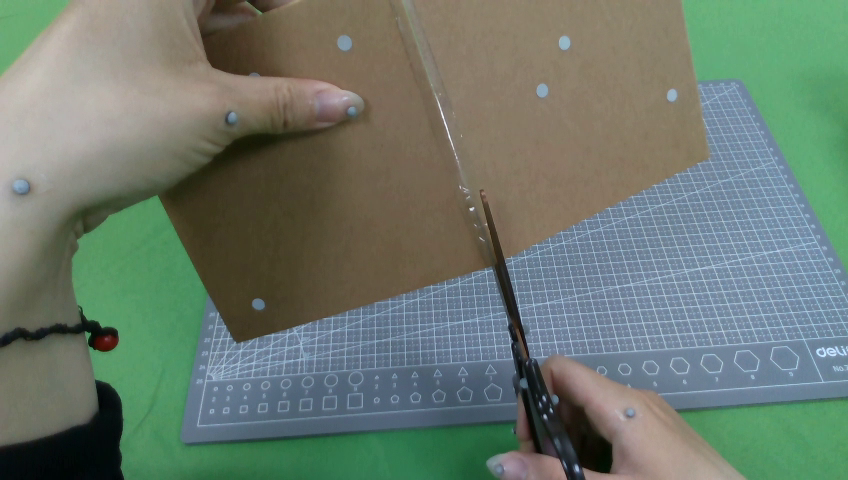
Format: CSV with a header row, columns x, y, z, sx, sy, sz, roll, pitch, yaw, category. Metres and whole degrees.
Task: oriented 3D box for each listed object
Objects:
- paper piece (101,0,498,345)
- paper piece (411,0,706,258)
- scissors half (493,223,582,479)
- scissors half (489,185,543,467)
x,y,z,sx,sy,sz,roll,pitch,yaw,category
-0.053,-0.027,0.268,0.138,0.136,0.008,-16,15,11,paper piece
0.069,-0.076,0.275,0.136,0.136,0.004,-23,22,-14,paper piece
0.050,0.056,0.283,0.013,0.040,0.175,-16,90,-5,scissors half
0.048,0.050,0.305,0.013,0.177,0.039,-15,33,0,scissors half
